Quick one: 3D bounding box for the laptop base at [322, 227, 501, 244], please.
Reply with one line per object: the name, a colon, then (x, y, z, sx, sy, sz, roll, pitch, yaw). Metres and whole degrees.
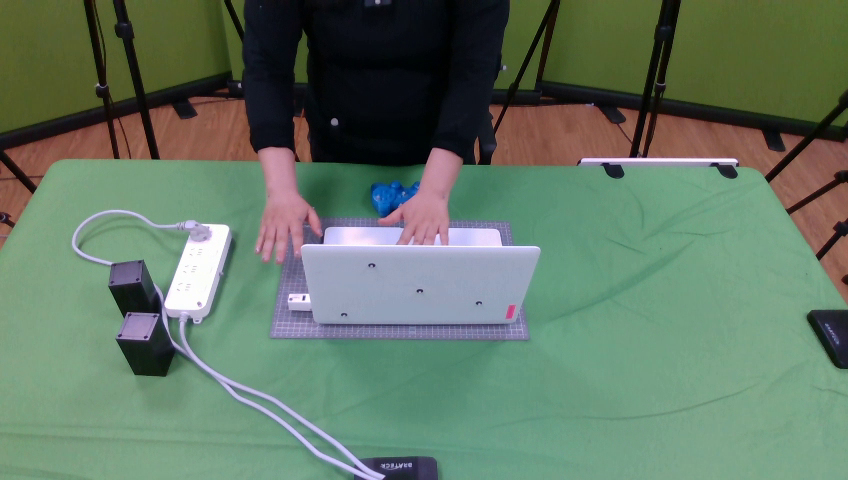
laptop base: (-0.020, 0.063, 1.136, 0.355, 0.023, 0.234, 1, 43, -4)

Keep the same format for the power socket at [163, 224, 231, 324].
power socket: (-0.411, 0.052, 1.107, 0.072, 0.033, 0.225, 3, 46, -3)

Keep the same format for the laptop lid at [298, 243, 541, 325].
laptop lid: (-0.010, 0.076, 0.958, 0.357, 0.243, 0.013, 1, 53, -5)

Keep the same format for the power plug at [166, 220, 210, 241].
power plug: (-0.440, -0.016, 1.143, 0.072, 0.053, 0.035, 7, 46, 8)

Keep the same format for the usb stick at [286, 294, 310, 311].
usb stick: (-0.209, 0.109, 1.059, 0.059, 0.027, 0.021, 4, 45, -6)

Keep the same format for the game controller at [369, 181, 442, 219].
game controller: (-0.039, -0.092, 1.267, 0.155, 0.052, 0.096, 2, 52, -2)
